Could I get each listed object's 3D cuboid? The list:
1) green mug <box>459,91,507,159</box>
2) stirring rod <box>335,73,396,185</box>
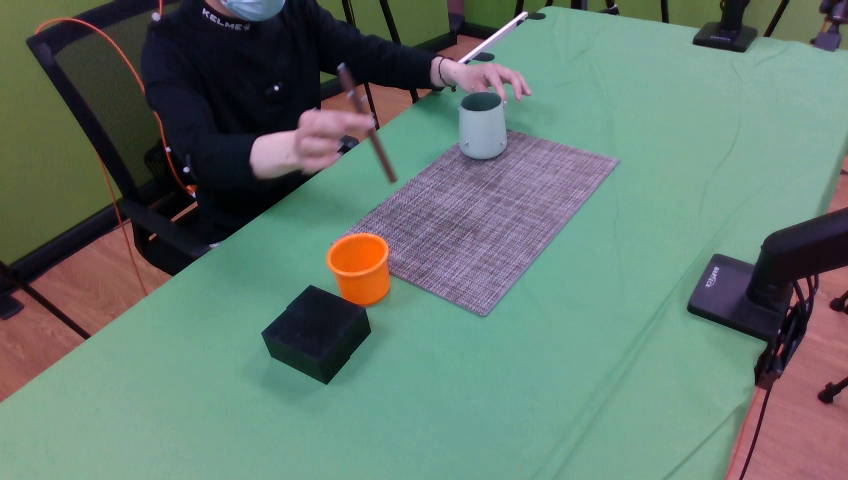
[{"bbox_3d":[0.116,-0.225,1.144,0.092,0.105,0.125,14,45,24],"label":"green mug"},{"bbox_3d":[-0.081,-0.154,0.853,0.014,0.177,0.006,-22,27,9],"label":"stirring rod"}]
